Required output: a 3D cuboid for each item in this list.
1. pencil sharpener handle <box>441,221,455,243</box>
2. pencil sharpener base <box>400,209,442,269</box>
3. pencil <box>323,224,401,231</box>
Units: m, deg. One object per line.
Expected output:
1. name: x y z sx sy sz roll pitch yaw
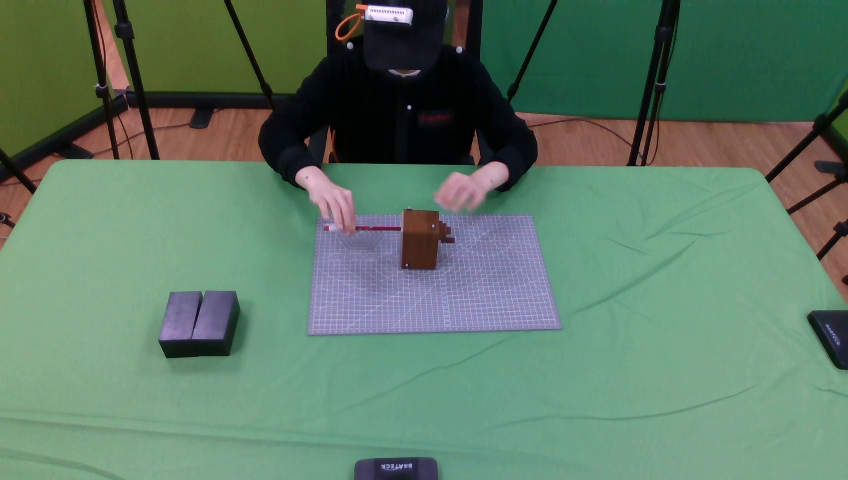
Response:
1. pencil sharpener handle: 0.046 -0.012 1.131 0.030 0.068 0.036 2 65 -2
2. pencil sharpener base: -0.006 0.000 1.134 0.077 0.107 0.061 2 46 -2
3. pencil: -0.088 -0.020 1.113 0.194 0.012 0.012 1 46 -2
